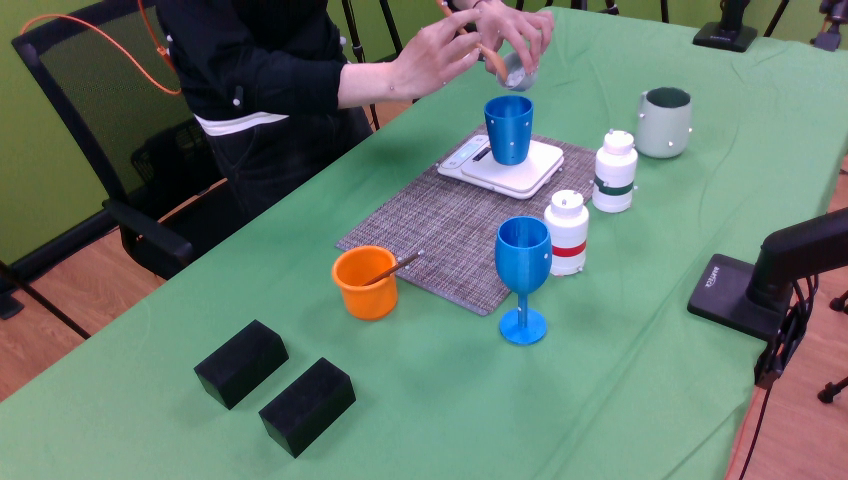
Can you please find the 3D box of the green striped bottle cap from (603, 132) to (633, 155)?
[{"bbox_3d":[0.301,-0.149,0.938,0.044,0.020,0.044,-3,39,3],"label":"green striped bottle cap"}]

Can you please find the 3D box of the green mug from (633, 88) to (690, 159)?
[{"bbox_3d":[0.423,-0.217,1.099,0.093,0.105,0.124,-16,41,-9],"label":"green mug"}]

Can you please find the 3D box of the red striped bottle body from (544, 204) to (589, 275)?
[{"bbox_3d":[0.206,-0.011,0.877,0.063,0.120,0.062,-5,41,5],"label":"red striped bottle body"}]

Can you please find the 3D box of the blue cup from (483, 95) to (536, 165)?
[{"bbox_3d":[0.148,-0.188,1.053,0.092,0.100,0.092,-5,39,5],"label":"blue cup"}]

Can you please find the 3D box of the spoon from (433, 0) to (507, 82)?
[{"bbox_3d":[0.071,-0.313,0.933,0.021,0.195,0.041,-32,38,33],"label":"spoon"}]

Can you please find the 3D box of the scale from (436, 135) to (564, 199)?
[{"bbox_3d":[0.137,-0.142,1.101,0.199,0.032,0.149,22,48,30],"label":"scale"}]

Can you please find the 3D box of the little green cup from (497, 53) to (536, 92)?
[{"bbox_3d":[0.155,-0.276,1.006,0.039,0.061,0.061,3,32,-33],"label":"little green cup"}]

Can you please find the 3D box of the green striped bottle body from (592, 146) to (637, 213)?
[{"bbox_3d":[0.307,-0.108,0.976,0.063,0.120,0.063,-4,41,4],"label":"green striped bottle body"}]

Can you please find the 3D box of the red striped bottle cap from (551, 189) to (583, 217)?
[{"bbox_3d":[0.200,-0.052,0.843,0.044,0.018,0.044,-3,42,3],"label":"red striped bottle cap"}]

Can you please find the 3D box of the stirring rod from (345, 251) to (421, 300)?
[{"bbox_3d":[-0.060,0.051,0.829,0.175,0.006,0.014,-32,18,44],"label":"stirring rod"}]

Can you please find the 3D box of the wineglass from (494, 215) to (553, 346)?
[{"bbox_3d":[0.127,0.055,0.770,0.074,0.173,0.073,-4,40,4],"label":"wineglass"}]
